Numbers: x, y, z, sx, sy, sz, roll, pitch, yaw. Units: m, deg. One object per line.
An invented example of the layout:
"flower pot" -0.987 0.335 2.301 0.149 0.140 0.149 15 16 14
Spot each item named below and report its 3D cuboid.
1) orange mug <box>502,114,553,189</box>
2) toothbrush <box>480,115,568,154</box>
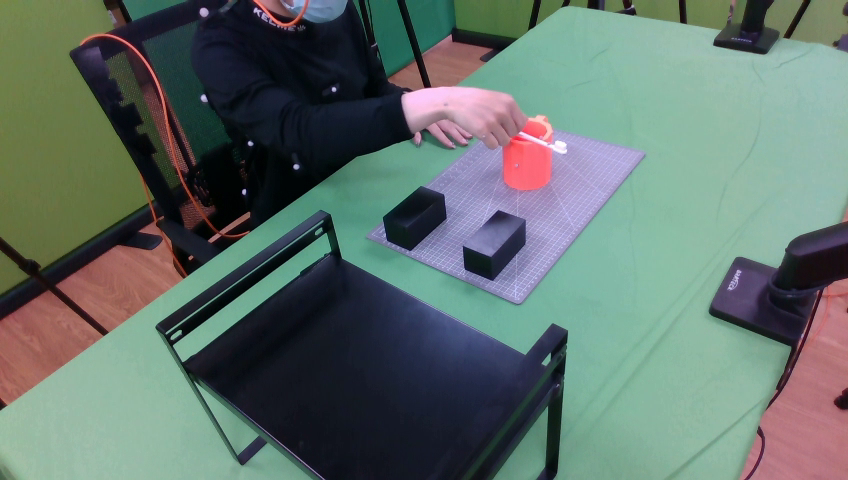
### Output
"orange mug" 0.190 -0.164 1.071 0.083 0.101 0.126 16 50 25
"toothbrush" 0.164 -0.181 1.013 0.180 0.017 0.014 30 55 35
